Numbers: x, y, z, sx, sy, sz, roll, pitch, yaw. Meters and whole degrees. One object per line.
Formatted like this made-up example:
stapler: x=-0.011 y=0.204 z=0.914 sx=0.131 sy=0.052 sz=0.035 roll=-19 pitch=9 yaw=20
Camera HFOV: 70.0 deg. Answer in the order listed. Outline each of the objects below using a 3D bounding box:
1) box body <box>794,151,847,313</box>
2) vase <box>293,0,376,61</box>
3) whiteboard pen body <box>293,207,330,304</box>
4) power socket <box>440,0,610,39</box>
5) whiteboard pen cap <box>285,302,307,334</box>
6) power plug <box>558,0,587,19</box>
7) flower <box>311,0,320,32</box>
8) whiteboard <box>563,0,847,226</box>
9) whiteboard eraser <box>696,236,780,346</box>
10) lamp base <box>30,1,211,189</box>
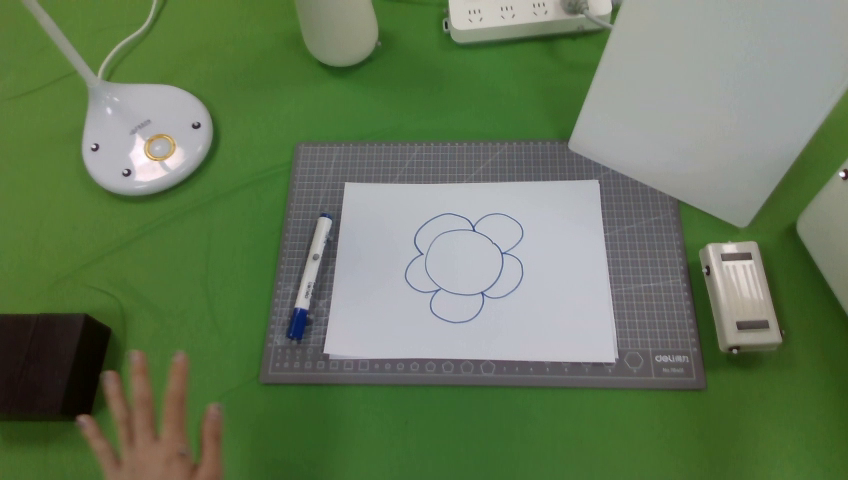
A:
box body: x=0.551 y=0.053 z=0.536 sx=0.254 sy=0.161 sz=0.360 roll=-17 pitch=65 yaw=-4
vase: x=-0.118 y=-0.310 z=0.724 sx=0.098 sy=0.201 sz=0.097 roll=-2 pitch=65 yaw=4
whiteboard pen body: x=-0.125 y=0.029 z=0.664 sx=0.017 sy=0.017 sz=0.140 roll=8 pitch=68 yaw=8
power socket: x=0.134 y=-0.310 z=0.800 sx=0.227 sy=0.033 sz=0.071 roll=-5 pitch=66 yaw=1
whiteboard pen cap: x=-0.135 y=0.083 z=0.643 sx=0.018 sy=0.018 sz=0.033 roll=7 pitch=68 yaw=8
power plug: x=0.185 y=-0.297 z=0.766 sx=0.035 sy=0.053 sz=0.072 roll=5 pitch=72 yaw=6
flower: x=-0.104 y=-0.337 z=0.646 sx=0.044 sy=0.362 sz=0.038 roll=-40 pitch=86 yaw=-23
whiteboard: x=0.313 y=-0.205 z=0.625 sx=0.216 sy=0.308 sz=0.143 roll=30 pitch=50 yaw=17
whiteboard eraser: x=0.318 y=0.052 z=0.618 sx=0.055 sy=0.042 sz=0.112 roll=-2 pitch=65 yaw=1
lamp base: x=-0.360 y=-0.173 z=0.687 sx=0.178 sy=0.182 sz=0.160 roll=31 pitch=70 yaw=20
